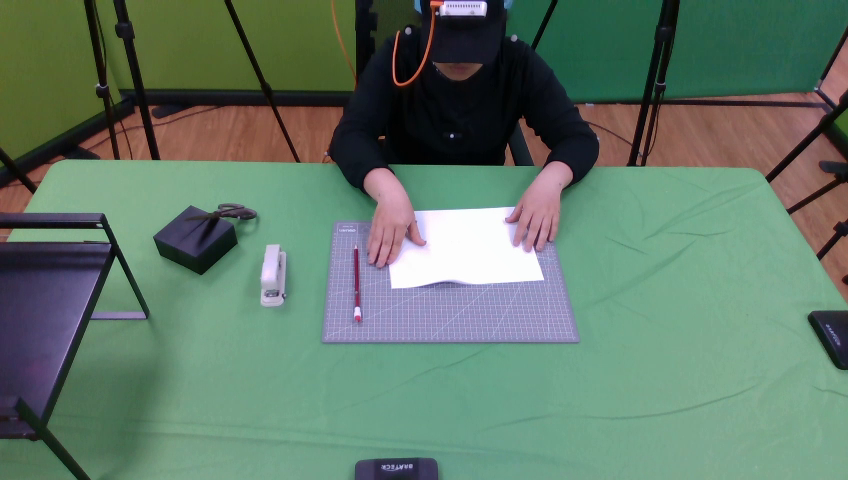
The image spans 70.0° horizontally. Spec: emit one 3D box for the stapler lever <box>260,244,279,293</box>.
[{"bbox_3d":[-0.279,0.045,1.096,0.027,0.040,0.117,-2,44,-9],"label":"stapler lever"}]

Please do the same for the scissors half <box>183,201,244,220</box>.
[{"bbox_3d":[-0.405,-0.054,1.163,0.040,0.013,0.175,29,18,7],"label":"scissors half"}]

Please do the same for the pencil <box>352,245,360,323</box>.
[{"bbox_3d":[-0.127,0.076,1.120,0.012,0.012,0.192,-2,44,-7],"label":"pencil"}]

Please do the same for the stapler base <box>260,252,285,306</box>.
[{"bbox_3d":[-0.279,0.064,1.113,0.041,0.024,0.129,-2,44,-9],"label":"stapler base"}]

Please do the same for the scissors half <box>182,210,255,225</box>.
[{"bbox_3d":[-0.389,-0.042,1.158,0.040,0.013,0.175,41,21,22],"label":"scissors half"}]
